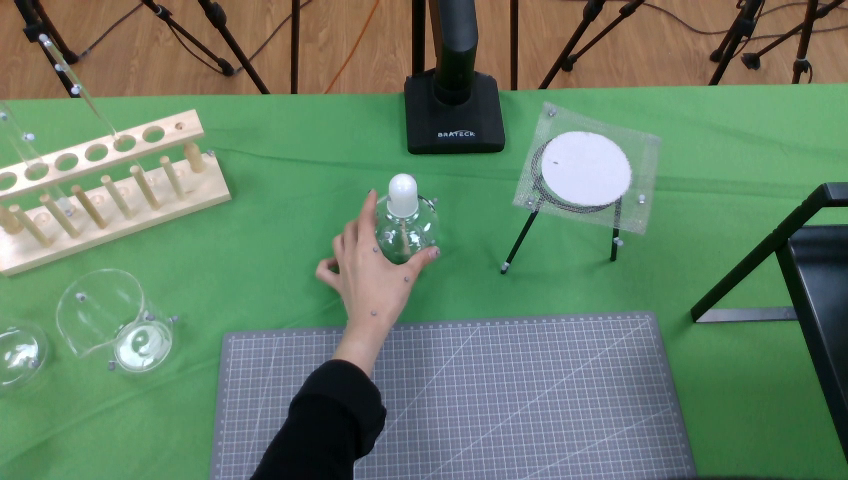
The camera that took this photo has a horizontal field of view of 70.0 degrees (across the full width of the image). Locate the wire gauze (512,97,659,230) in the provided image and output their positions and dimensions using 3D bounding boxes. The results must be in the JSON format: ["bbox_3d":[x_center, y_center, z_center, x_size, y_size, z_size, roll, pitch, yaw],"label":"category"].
[{"bbox_3d":[0.156,-0.074,0.573,0.121,0.011,0.124,17,63,5],"label":"wire gauze"}]

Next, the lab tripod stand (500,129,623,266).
[{"bbox_3d":[0.147,-0.040,0.631,0.148,0.132,0.147,2,61,-3],"label":"lab tripod stand"}]

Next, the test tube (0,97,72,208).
[{"bbox_3d":[-0.385,-0.081,0.598,0.017,0.151,0.017,2,55,-2],"label":"test tube"}]

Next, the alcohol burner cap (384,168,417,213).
[{"bbox_3d":[-0.023,-0.052,0.600,0.034,0.048,0.033,1,61,-2],"label":"alcohol burner cap"}]

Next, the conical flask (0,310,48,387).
[{"bbox_3d":[-0.407,0.082,0.546,0.075,0.123,0.074,1,61,-2],"label":"conical flask"}]

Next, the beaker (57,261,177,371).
[{"bbox_3d":[-0.282,0.079,0.568,0.074,0.101,0.083,11,62,4],"label":"beaker"}]

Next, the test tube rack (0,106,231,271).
[{"bbox_3d":[-0.343,-0.055,0.643,0.243,0.086,0.066,-21,65,-14],"label":"test tube rack"}]

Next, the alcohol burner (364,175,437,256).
[{"bbox_3d":[-0.023,-0.033,0.631,0.078,0.120,0.077,2,61,-3],"label":"alcohol burner"}]

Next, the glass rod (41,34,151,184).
[{"bbox_3d":[-0.320,-0.119,0.603,0.008,0.201,0.008,-2,56,4],"label":"glass rod"}]
